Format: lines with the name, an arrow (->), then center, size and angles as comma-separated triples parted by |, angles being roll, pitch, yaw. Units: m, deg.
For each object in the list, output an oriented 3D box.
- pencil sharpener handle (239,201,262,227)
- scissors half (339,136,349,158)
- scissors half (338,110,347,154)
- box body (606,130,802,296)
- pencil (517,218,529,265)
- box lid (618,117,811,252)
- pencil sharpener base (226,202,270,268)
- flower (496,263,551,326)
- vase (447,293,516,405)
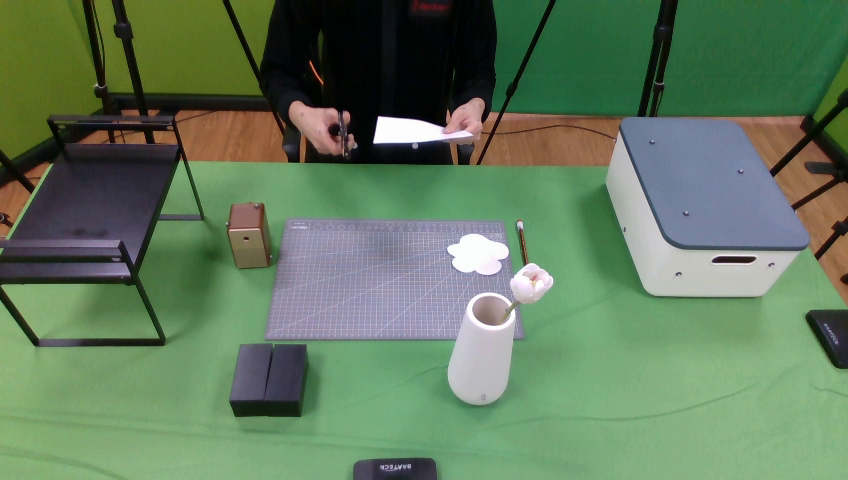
pencil sharpener handle -> -0.325, -0.055, 1.150 | 0.036, 0.068, 0.030 | -12, 46, 3
scissors half -> -0.136, -0.159, 1.025 | 0.013, 0.040, 0.175 | -6, 8, -2
scissors half -> -0.139, -0.179, 1.018 | 0.013, 0.040, 0.174 | -10, 32, -1
box body -> 0.530, -0.067, 1.204 | 0.254, 0.161, 0.361 | 0, 46, -4
pencil -> 0.201, 0.028, 1.196 | 0.012, 0.012, 0.193 | 1, 48, -3
box lid -> 0.534, -0.117, 1.149 | 0.263, 0.015, 0.369 | 0, 47, -3
pencil sharpener base -> -0.323, -0.010, 1.123 | 0.061, 0.107, 0.076 | -3, 46, -7
flower -> 0.102, 0.120, 0.853 | 0.044, 0.363, 0.038 | -2, 64, -10
vase -> 0.091, 0.169, 0.921 | 0.098, 0.201, 0.097 | 3, 47, -3
